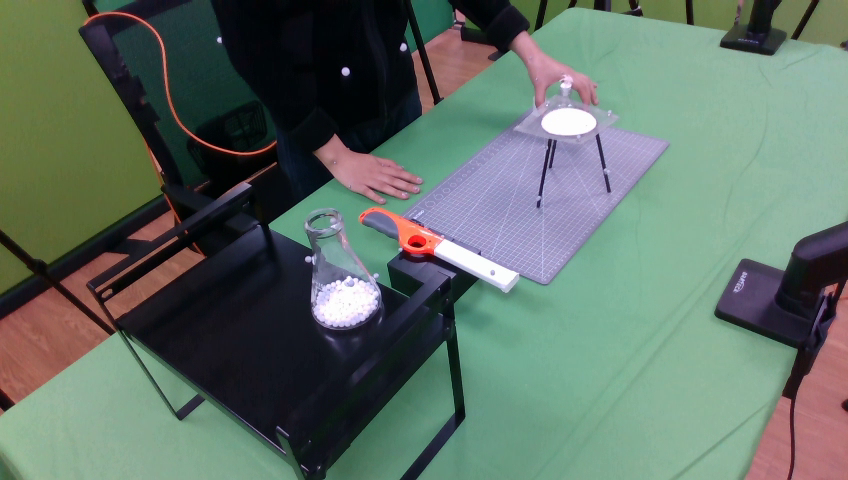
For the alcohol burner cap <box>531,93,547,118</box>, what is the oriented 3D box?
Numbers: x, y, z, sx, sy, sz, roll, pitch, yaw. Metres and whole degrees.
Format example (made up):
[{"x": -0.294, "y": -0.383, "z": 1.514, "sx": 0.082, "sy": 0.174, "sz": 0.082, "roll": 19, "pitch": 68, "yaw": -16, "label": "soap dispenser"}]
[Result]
[{"x": 0.240, "y": -0.281, "z": 1.250, "sx": 0.034, "sy": 0.048, "sz": 0.033, "roll": -2, "pitch": 41, "yaw": 2, "label": "alcohol burner cap"}]

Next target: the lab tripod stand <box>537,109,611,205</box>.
[{"x": 0.244, "y": -0.141, "z": 1.014, "sx": 0.148, "sy": 0.132, "sz": 0.147, "roll": -3, "pitch": 39, "yaw": 3, "label": "lab tripod stand"}]

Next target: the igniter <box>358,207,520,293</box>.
[{"x": 0.014, "y": 0.008, "z": 0.886, "sx": 0.274, "sy": 0.025, "sz": 0.057, "roll": 25, "pitch": 53, "yaw": 29, "label": "igniter"}]

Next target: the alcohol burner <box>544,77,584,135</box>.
[{"x": 0.269, "y": -0.256, "z": 1.161, "sx": 0.078, "sy": 0.119, "sz": 0.077, "roll": -6, "pitch": 38, "yaw": 5, "label": "alcohol burner"}]

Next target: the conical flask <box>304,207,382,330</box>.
[{"x": -0.088, "y": 0.025, "z": 0.601, "sx": 0.075, "sy": 0.122, "sz": 0.075, "roll": -5, "pitch": 40, "yaw": 5, "label": "conical flask"}]

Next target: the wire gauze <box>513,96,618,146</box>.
[{"x": 0.229, "y": -0.190, "z": 0.969, "sx": 0.120, "sy": 0.011, "sz": 0.125, "roll": 26, "pitch": 50, "yaw": 33, "label": "wire gauze"}]
